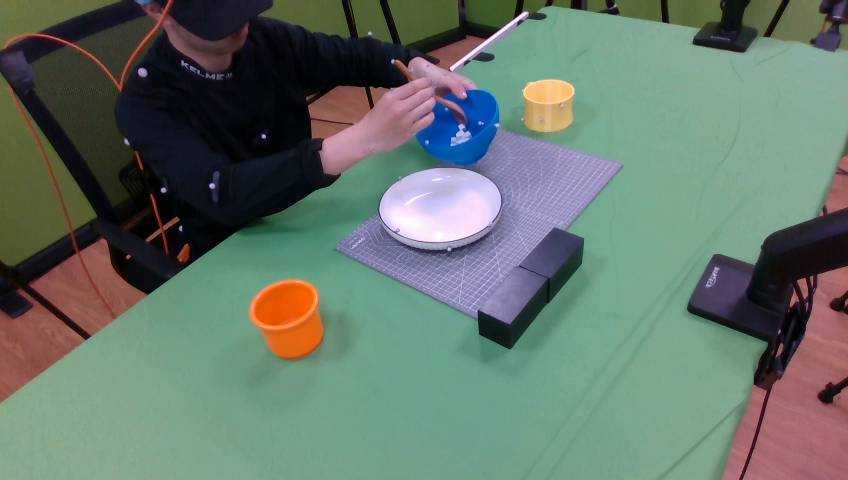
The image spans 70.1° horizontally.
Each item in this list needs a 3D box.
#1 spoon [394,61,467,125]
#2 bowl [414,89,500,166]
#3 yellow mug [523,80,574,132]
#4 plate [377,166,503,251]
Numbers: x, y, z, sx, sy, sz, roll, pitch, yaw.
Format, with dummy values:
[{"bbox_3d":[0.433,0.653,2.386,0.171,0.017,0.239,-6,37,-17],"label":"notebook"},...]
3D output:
[{"bbox_3d":[0.013,-0.239,0.995,0.041,0.195,0.021,37,99,41],"label":"spoon"},{"bbox_3d":[0.067,-0.181,1.044,0.151,0.077,0.150,-14,46,16],"label":"bowl"},{"bbox_3d":[0.242,-0.278,1.224,0.100,0.064,0.129,-24,42,-18],"label":"yellow mug"},{"bbox_3d":[0.027,-0.050,1.007,0.209,0.038,0.208,-4,41,4],"label":"plate"}]
